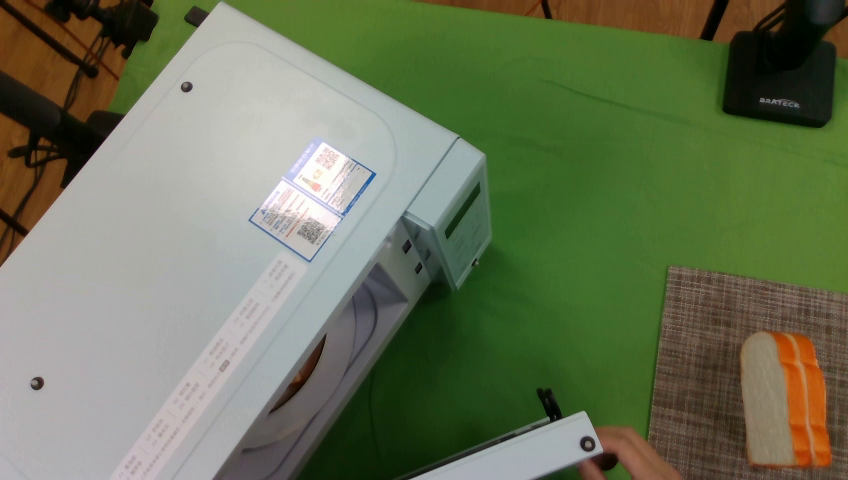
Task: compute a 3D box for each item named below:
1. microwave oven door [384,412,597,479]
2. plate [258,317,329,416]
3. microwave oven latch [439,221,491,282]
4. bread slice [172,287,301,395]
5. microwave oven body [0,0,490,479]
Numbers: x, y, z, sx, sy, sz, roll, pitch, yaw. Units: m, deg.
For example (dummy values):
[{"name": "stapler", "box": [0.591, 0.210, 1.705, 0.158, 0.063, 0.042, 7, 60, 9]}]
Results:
[{"name": "microwave oven door", "box": [-0.031, 0.230, 0.539, 0.356, 0.245, 0.039, -22, 71, 1]}, {"name": "plate", "box": [-0.203, 0.091, 0.658, 0.207, 0.039, 0.206, -1, 74, 4]}, {"name": "microwave oven latch", "box": [0.047, 0.008, 0.698, 0.030, 0.030, 0.079, 35, 82, 15]}, {"name": "bread slice", "box": [-0.203, 0.116, 0.656, 0.134, 0.018, 0.106, -12, 71, -6]}, {"name": "microwave oven body", "box": [-0.186, 0.047, 0.615, 0.324, 0.262, 0.441, 33, 81, 14]}]
